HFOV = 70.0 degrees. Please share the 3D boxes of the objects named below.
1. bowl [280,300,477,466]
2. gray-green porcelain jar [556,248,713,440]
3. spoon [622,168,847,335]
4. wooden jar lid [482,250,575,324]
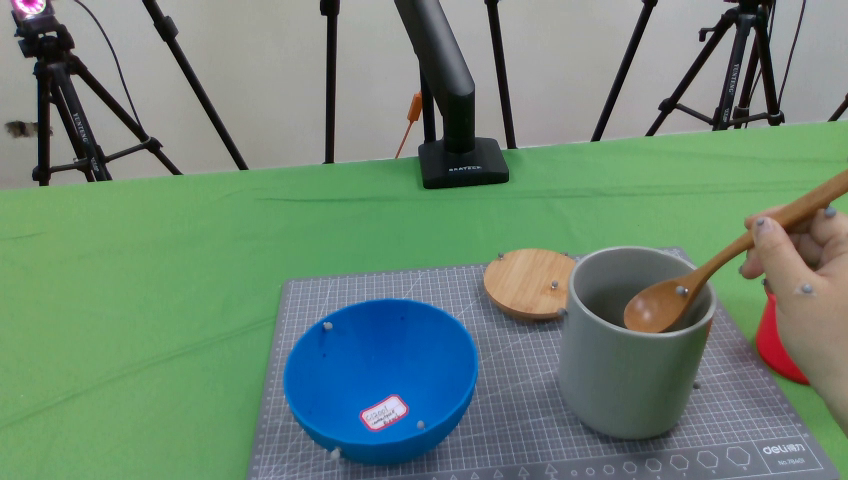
[{"bbox_3d":[-0.033,0.126,0.487,0.151,0.077,0.150,-2,36,2],"label":"bowl"},{"bbox_3d":[0.161,0.087,0.484,0.106,0.127,0.105,-2,36,2],"label":"gray-green porcelain jar"},{"bbox_3d":[0.203,0.013,0.407,0.022,0.194,0.041,20,49,-14],"label":"spoon"},{"bbox_3d":[0.114,0.050,0.633,0.108,0.021,0.107,-2,34,2],"label":"wooden jar lid"}]
